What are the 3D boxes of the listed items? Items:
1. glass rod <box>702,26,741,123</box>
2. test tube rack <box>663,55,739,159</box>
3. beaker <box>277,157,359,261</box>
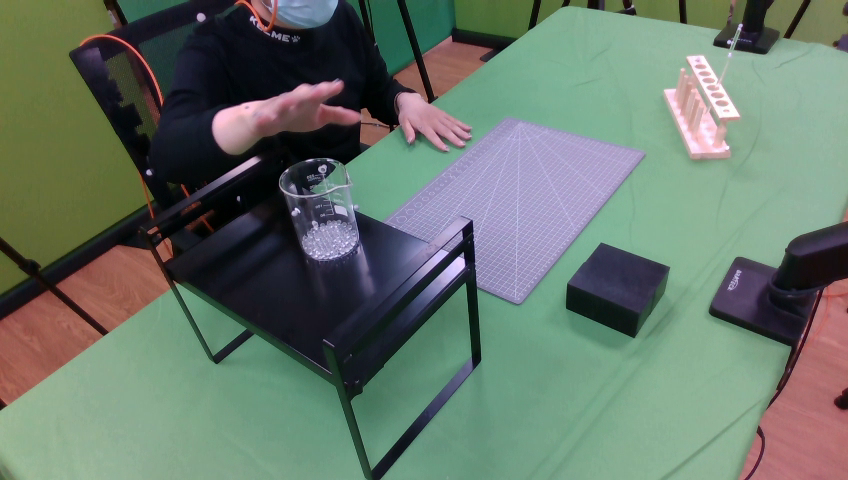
[{"bbox_3d":[0.527,-0.288,1.078,0.008,0.200,0.008,-1,49,2],"label":"glass rod"},{"bbox_3d":[0.518,-0.256,1.144,0.066,0.085,0.241,-1,41,8],"label":"test tube rack"},{"bbox_3d":[-0.114,-0.033,0.689,0.084,0.101,0.074,5,43,13],"label":"beaker"}]
